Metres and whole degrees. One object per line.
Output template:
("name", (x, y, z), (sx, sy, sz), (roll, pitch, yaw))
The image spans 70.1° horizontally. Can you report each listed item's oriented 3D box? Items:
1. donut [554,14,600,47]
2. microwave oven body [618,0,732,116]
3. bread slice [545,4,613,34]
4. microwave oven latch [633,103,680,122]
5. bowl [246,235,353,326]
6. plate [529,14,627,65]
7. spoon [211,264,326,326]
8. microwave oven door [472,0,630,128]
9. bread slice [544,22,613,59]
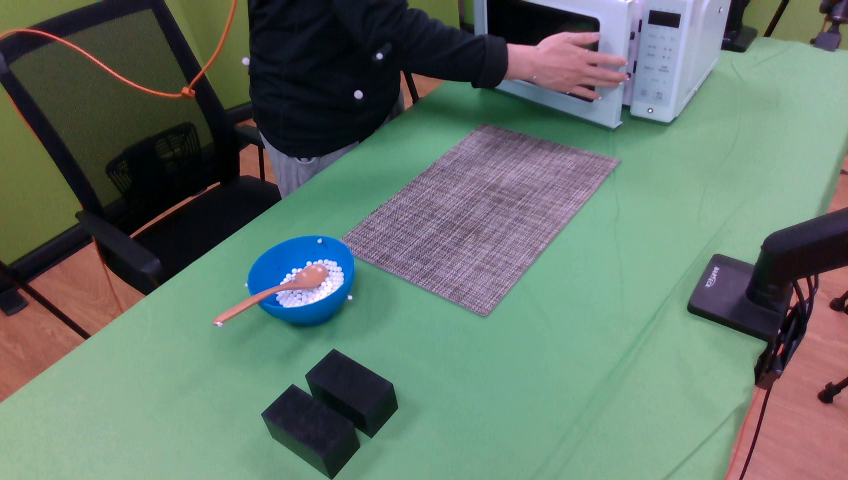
("donut", (0.328, -0.452, 1.297), (0.099, 0.048, 0.098), (-5, 46, 5))
("microwave oven body", (0.377, -0.463, 1.267), (0.438, 0.261, 0.327), (21, 49, 30))
("bread slice", (0.330, -0.473, 1.280), (0.131, 0.019, 0.104), (-11, 39, 0))
("microwave oven latch", (0.443, -0.249, 1.158), (0.078, 0.029, 0.030), (21, 49, 30))
("bowl", (-0.170, 0.070, 0.868), (0.151, 0.077, 0.150), (-4, 40, 4))
("plate", (0.332, -0.433, 1.318), (0.207, 0.039, 0.206), (-4, 42, 5))
("spoon", (-0.208, 0.072, 0.822), (0.041, 0.021, 0.195), (26, 29, 27))
("microwave oven door", (0.239, -0.381, 1.184), (0.353, 0.245, 0.039), (30, 53, 35))
("bread slice", (0.339, -0.437, 1.315), (0.134, 0.018, 0.106), (-14, 49, -3))
